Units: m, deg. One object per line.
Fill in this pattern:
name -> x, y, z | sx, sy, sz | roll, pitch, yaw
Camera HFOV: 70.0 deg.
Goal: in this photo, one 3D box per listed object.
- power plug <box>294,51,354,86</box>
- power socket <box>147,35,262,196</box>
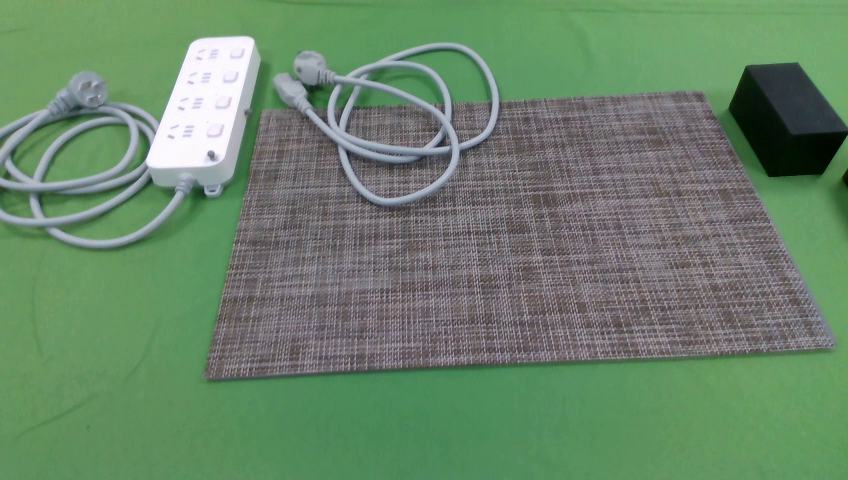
power plug -> -0.103, -0.173, 0.637 | 0.072, 0.035, 0.052 | 27, 30, 2
power socket -> -0.213, -0.135, 0.604 | 0.072, 0.033, 0.224 | -2, 51, 1
